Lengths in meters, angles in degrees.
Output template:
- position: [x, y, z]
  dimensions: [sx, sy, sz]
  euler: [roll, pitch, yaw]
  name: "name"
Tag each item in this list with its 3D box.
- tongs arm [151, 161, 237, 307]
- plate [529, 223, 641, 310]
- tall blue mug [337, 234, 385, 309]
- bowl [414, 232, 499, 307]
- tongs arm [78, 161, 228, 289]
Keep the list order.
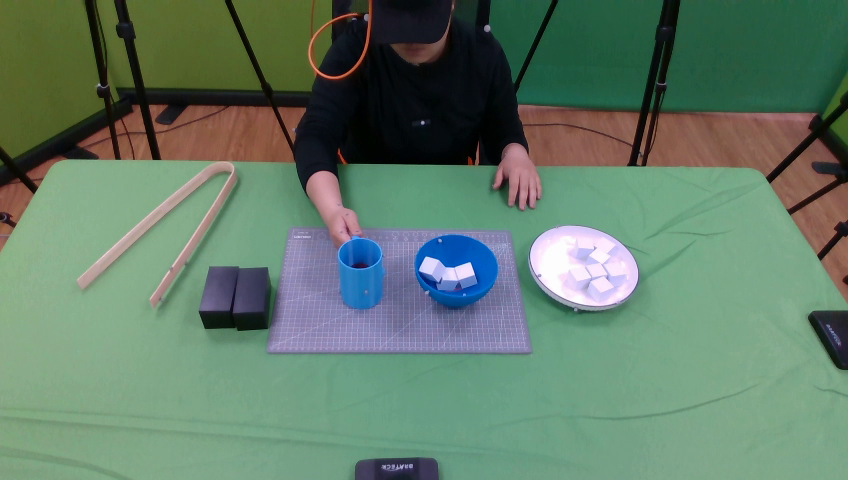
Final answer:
- position: [-0.447, -0.026, 1.180]
  dimensions: [0.051, 0.026, 0.383]
  euler: [8, 46, 10]
  name: "tongs arm"
- position: [0.303, 0.053, 1.156]
  dimensions: [0.209, 0.038, 0.208]
  euler: [2, 46, -1]
  name: "plate"
- position: [-0.121, 0.050, 1.076]
  dimensions: [0.078, 0.108, 0.106]
  euler: [-29, 55, -28]
  name: "tall blue mug"
- position: [0.056, 0.067, 1.093]
  dimensions: [0.151, 0.077, 0.150]
  euler: [2, 46, -2]
  name: "bowl"
- position: [-0.524, -0.043, 1.196]
  dimensions: [0.028, 0.028, 0.386]
  euler: [15, 47, 22]
  name: "tongs arm"
